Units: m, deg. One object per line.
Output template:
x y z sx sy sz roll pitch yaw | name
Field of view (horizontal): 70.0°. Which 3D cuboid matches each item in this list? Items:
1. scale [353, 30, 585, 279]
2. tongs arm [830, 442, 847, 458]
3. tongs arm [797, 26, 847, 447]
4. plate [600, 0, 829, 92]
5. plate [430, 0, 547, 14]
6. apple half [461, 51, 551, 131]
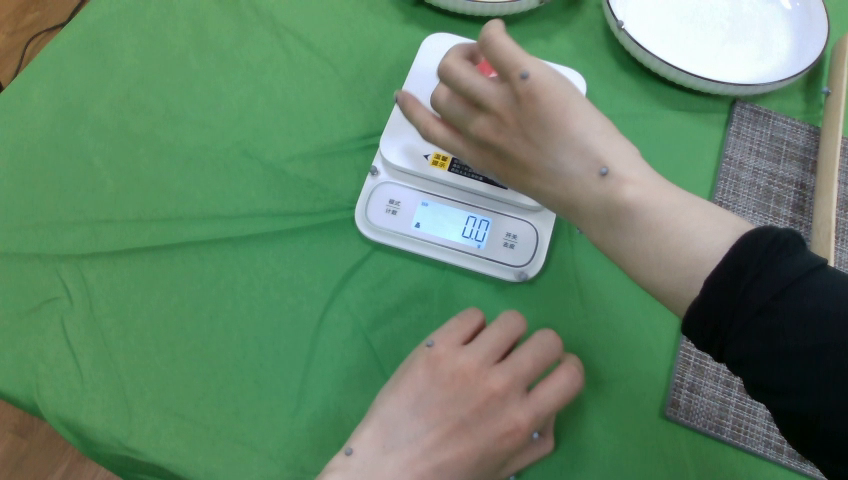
0.041 -0.075 0.485 0.148 0.032 0.199 17 64 5 | scale
0.398 0.006 0.464 0.050 0.027 0.383 33 66 11 | tongs arm
0.324 -0.031 0.480 0.028 0.028 0.385 21 64 2 | tongs arm
0.265 -0.216 0.566 0.209 0.038 0.207 2 63 -3 | plate
0.055 -0.293 0.591 0.208 0.039 0.206 2 63 -3 | plate
0.069 -0.119 0.457 0.082 0.033 0.080 24 33 -16 | apple half
